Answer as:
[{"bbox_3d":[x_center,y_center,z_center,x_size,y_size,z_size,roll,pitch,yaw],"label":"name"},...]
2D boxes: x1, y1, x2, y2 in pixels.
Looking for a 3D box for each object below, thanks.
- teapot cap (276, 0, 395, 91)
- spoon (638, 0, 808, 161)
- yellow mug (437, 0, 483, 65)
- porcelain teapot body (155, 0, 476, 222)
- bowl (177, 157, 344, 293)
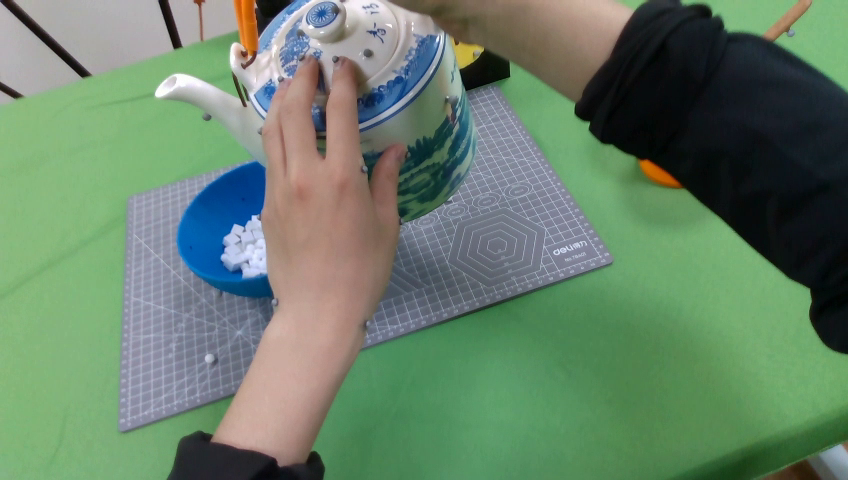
[{"bbox_3d":[-0.061,-0.135,0.400,0.085,0.044,0.084,-6,64,14],"label":"teapot cap"},{"bbox_3d":[0.274,-0.148,0.559,0.022,0.194,0.041,15,36,-35],"label":"spoon"},{"bbox_3d":[0.010,-0.238,0.676,0.099,0.064,0.130,9,55,18],"label":"yellow mug"},{"bbox_3d":[-0.077,-0.110,0.438,0.205,0.227,0.144,-17,61,7],"label":"porcelain teapot body"},{"bbox_3d":[-0.139,-0.003,0.564,0.151,0.077,0.150,-6,49,7],"label":"bowl"}]
